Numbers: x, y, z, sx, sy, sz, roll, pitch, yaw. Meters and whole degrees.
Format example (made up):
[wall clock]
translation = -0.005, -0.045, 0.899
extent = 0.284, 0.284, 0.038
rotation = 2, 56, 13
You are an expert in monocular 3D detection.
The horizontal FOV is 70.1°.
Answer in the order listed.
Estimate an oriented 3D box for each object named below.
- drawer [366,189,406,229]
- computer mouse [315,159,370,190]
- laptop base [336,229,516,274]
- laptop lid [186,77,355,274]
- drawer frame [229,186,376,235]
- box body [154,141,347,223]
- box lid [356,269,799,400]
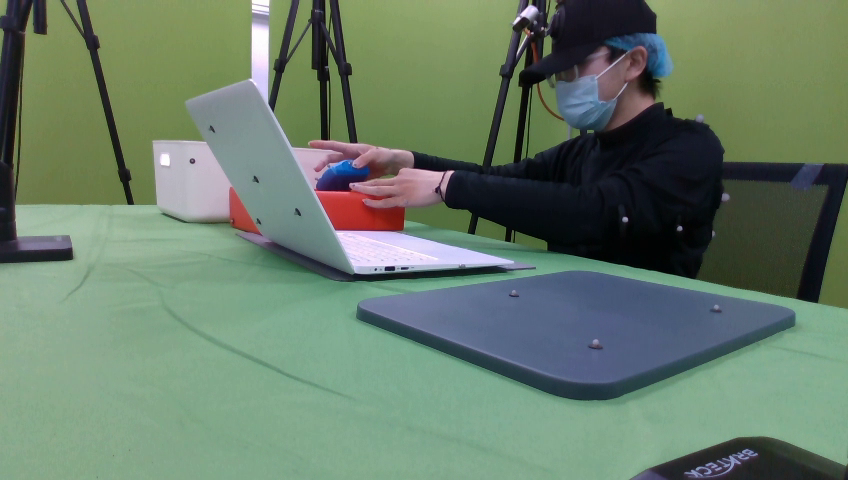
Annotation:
[drawer]
translation = -0.173, -0.063, 1.177
extent = 0.213, 0.073, 0.193
rotation = -2, 9, -34
[computer mouse]
translation = -0.160, -0.126, 1.176
extent = 0.062, 0.041, 0.118
rotation = -43, -17, 32
[laptop base]
translation = -0.065, 0.014, 0.877
extent = 0.237, 0.023, 0.352
rotation = 2, 6, -32
[laptop lid]
translation = -0.211, -0.081, 0.772
extent = 0.013, 0.242, 0.355
rotation = -35, 25, -23
[drawer frame]
translation = -0.229, -0.060, 1.139
extent = 0.215, 0.082, 0.200
rotation = -4, 9, -36
[box body]
translation = -0.384, -0.132, 1.346
extent = 0.366, 0.160, 0.253
rotation = -3, 9, -36
[box lid]
translation = 0.152, 0.068, 0.565
extent = 0.374, 0.015, 0.262
rotation = -4, 10, -41
